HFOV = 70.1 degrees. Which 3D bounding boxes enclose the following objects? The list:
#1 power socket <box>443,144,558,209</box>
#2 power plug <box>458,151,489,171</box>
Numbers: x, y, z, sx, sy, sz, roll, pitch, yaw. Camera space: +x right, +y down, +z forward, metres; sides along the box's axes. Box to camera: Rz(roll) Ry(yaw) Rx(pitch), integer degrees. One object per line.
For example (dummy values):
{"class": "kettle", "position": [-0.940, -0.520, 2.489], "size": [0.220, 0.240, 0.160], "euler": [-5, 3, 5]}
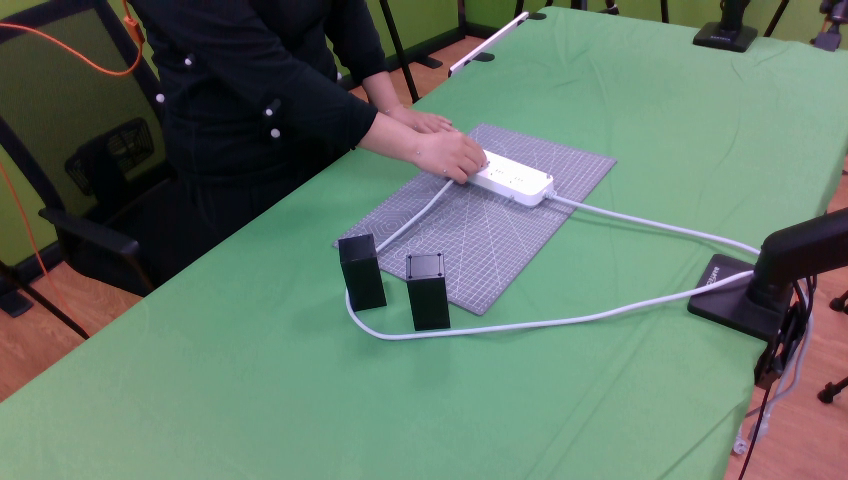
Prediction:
{"class": "power socket", "position": [0.129, -0.117, 1.076], "size": [0.225, 0.033, 0.072], "euler": [28, 52, 34]}
{"class": "power plug", "position": [0.083, -0.129, 1.068], "size": [0.073, 0.053, 0.035], "euler": [-27, 45, -21]}
